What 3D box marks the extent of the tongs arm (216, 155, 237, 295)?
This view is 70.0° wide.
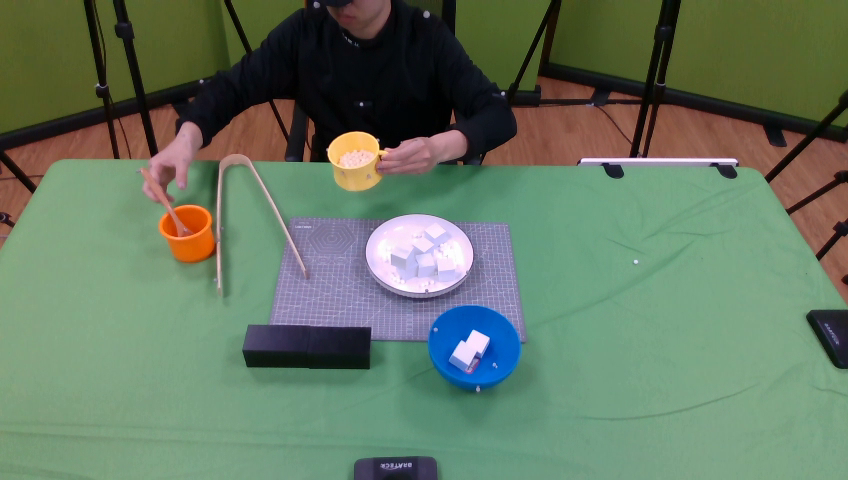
[{"bbox_3d":[-0.388,-0.043,1.201,0.051,0.026,0.382,-9,46,-12],"label":"tongs arm"}]

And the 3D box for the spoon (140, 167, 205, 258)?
[{"bbox_3d":[-0.467,-0.051,1.122,0.041,0.194,0.021,-34,13,-28],"label":"spoon"}]

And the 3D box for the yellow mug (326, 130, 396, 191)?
[{"bbox_3d":[-0.119,-0.155,1.176,0.131,0.064,0.099,1,55,5],"label":"yellow mug"}]

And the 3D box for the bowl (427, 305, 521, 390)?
[{"bbox_3d":[0.076,0.188,0.985,0.151,0.077,0.150,3,46,-3],"label":"bowl"}]

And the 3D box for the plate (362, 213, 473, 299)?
[{"bbox_3d":[-0.013,0.034,1.150,0.208,0.039,0.206,2,46,-2],"label":"plate"}]

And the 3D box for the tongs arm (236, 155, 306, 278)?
[{"bbox_3d":[-0.311,-0.059,1.224,0.028,0.028,0.385,-22,50,-18],"label":"tongs arm"}]
